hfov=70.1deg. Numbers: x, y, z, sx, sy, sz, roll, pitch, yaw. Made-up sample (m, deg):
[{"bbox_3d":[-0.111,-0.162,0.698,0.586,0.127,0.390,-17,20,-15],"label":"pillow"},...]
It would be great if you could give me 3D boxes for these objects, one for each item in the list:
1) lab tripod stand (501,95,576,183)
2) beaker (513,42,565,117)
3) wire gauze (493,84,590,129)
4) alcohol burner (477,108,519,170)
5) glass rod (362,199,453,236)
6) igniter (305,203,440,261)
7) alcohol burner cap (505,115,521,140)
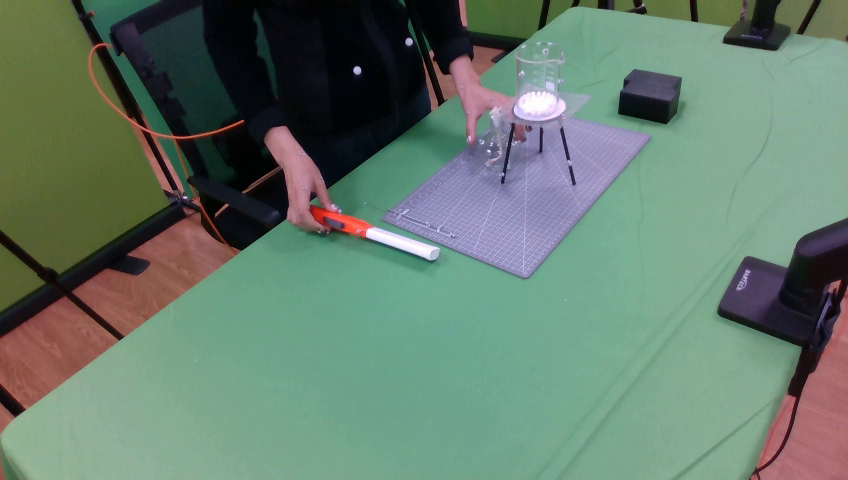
[{"bbox_3d":[0.204,-0.174,1.057,0.148,0.132,0.147,-4,40,4],"label":"lab tripod stand"},{"bbox_3d":[0.187,-0.257,0.981,0.083,0.101,0.074,21,49,29],"label":"beaker"},{"bbox_3d":[0.197,-0.223,1.013,0.120,0.011,0.125,21,47,28],"label":"wire gauze"},{"bbox_3d":[0.135,-0.188,1.102,0.078,0.119,0.077,-4,41,4],"label":"alcohol burner"},{"bbox_3d":[-0.032,-0.041,1.041,0.198,0.008,0.008,22,50,31],"label":"glass rod"},{"bbox_3d":[-0.097,-0.017,1.008,0.274,0.025,0.057,19,18,29],"label":"igniter"},{"bbox_3d":[0.175,-0.224,1.193,0.034,0.048,0.033,-6,40,5],"label":"alcohol burner cap"}]
